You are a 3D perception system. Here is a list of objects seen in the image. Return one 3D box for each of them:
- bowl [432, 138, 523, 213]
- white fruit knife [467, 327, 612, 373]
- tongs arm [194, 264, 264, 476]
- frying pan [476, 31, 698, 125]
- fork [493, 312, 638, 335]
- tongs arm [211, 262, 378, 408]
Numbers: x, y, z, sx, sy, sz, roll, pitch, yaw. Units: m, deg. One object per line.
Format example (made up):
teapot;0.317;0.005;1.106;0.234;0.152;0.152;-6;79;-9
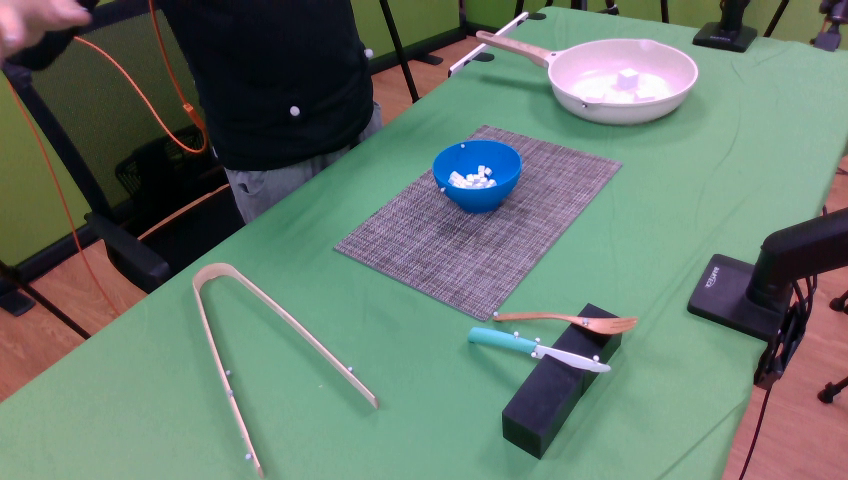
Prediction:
bowl;0.091;-0.099;1.022;0.151;0.077;0.150;-4;41;4
white fruit knife;0.134;0.134;0.742;0.205;0.027;0.016;7;34;41
tongs arm;-0.259;0.153;0.816;0.051;0.026;0.381;-24;42;-20
frying pan;0.321;-0.371;1.290;0.484;0.103;0.307;29;51;24
fork;0.173;0.103;0.774;0.206;0.019;0.028;0;41;40
tongs arm;-0.192;0.121;0.850;0.028;0.028;0.384;-37;48;-27
